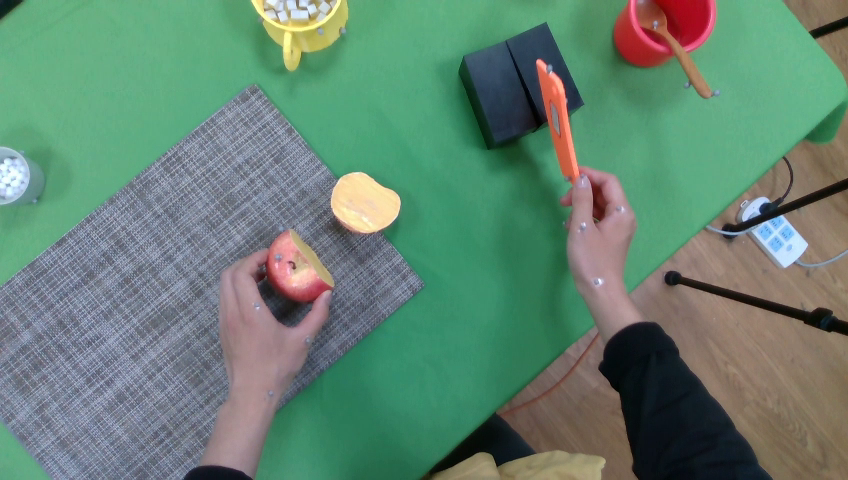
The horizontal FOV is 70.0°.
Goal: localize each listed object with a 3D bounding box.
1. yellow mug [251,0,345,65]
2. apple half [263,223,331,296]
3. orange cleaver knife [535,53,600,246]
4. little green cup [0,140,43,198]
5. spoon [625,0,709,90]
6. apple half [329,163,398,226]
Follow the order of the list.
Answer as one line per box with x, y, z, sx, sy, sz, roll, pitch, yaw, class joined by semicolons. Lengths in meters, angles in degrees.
-0.141;-0.258;0.663;0.100;0.064;0.130;8;90;-4;yellow mug
-0.143;0.027;0.652;0.053;0.074;0.081;-36;95;0;apple half
0.152;-0.093;0.645;0.012;0.076;0.213;-20;115;2;orange cleaver knife
-0.449;-0.074;0.654;0.061;0.038;0.061;0;89;-3;little green cup
0.261;-0.218;0.651;0.042;0.191;0.022;-3;134;-5;spoon
-0.072;-0.043;0.675;0.081;0.033;0.080;10;58;-15;apple half
